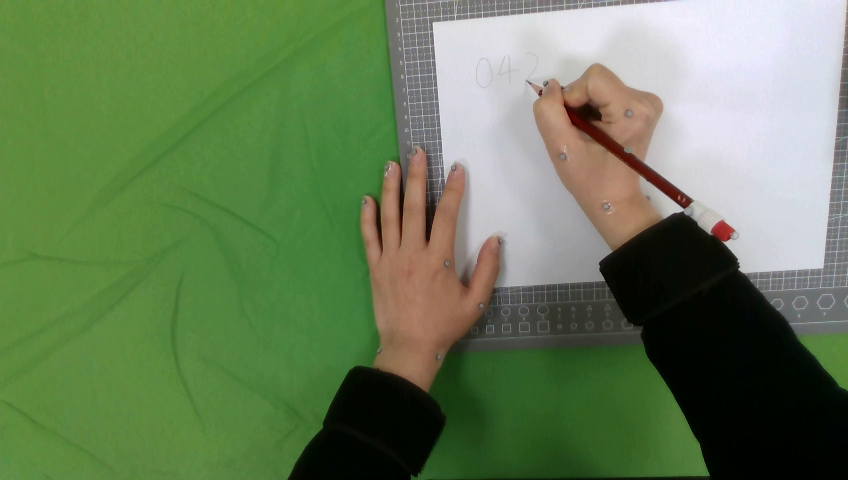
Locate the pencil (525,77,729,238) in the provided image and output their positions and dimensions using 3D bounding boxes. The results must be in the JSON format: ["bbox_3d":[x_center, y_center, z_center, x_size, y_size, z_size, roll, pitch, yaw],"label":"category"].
[{"bbox_3d":[0.122,-0.063,0.398,0.012,0.192,0.012,-21,139,-19],"label":"pencil"}]
